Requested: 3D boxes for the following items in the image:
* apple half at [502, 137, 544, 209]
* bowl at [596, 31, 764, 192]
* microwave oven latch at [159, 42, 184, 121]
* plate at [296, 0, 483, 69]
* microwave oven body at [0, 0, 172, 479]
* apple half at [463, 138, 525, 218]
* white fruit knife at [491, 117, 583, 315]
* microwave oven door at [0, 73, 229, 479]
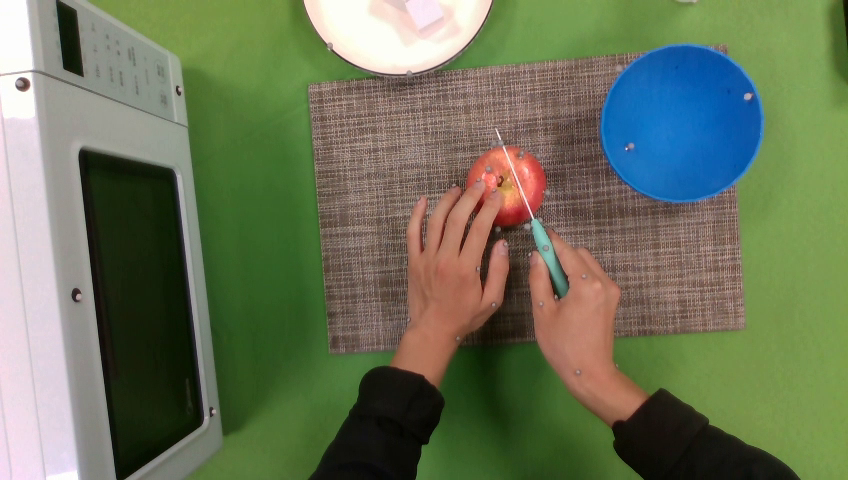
[{"bbox_3d":[0.105,-0.072,0.618,0.033,0.081,0.081,-19,90,9],"label":"apple half"},{"bbox_3d":[0.242,-0.121,0.604,0.151,0.077,0.151,0,92,5],"label":"bowl"},{"bbox_3d":[-0.279,-0.167,0.646,0.030,0.029,0.079,-6,92,4],"label":"microwave oven latch"},{"bbox_3d":[-0.035,-0.282,0.642,0.207,0.039,0.207,0,93,4],"label":"plate"},{"bbox_3d":[-0.413,0.027,0.567,0.326,0.260,0.441,-7,92,4],"label":"microwave oven body"},{"bbox_3d":[0.068,-0.059,0.623,0.053,0.074,0.081,-19,94,9],"label":"apple half"},{"bbox_3d":[0.105,-0.021,0.575,0.016,0.027,0.207,-24,95,8],"label":"white fruit knife"},{"bbox_3d":[-0.264,0.053,0.553,0.039,0.244,0.355,-7,92,5],"label":"microwave oven door"}]
